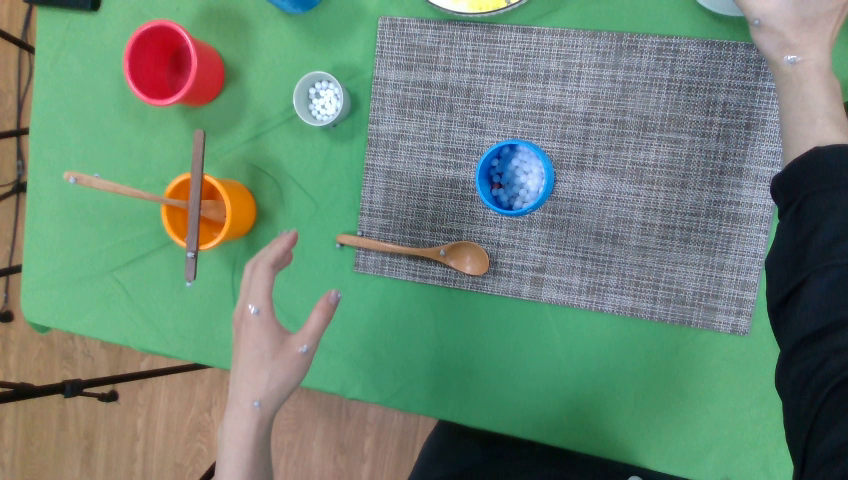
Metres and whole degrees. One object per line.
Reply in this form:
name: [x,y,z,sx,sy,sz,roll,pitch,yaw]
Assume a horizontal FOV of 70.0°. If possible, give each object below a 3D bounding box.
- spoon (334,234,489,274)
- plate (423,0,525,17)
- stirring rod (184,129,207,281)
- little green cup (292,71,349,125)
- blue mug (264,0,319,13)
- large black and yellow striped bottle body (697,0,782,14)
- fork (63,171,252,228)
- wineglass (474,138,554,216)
spoon: [-0.018,0.010,0.710,0.193,0.021,0.042,7,120,12]
plate: [0.060,-0.345,0.650,0.208,0.038,0.209,1,97,13]
stirring rod: [-0.264,-0.039,0.698,0.014,0.006,0.176,8,97,13]
little green cup: [-0.119,-0.164,0.710,0.061,0.038,0.061,1,97,14]
blue mug: [-0.150,-0.301,0.668,0.116,0.106,0.082,22,100,10]
large black and yellow striped bottle body: [0.301,-0.285,0.522,0.130,0.184,0.131,1,95,13]
fork: [-0.304,-0.048,0.708,0.209,0.018,0.028,14,109,-33]
wineglass: [0.093,-0.062,0.600,0.073,0.172,0.074,1,96,13]
